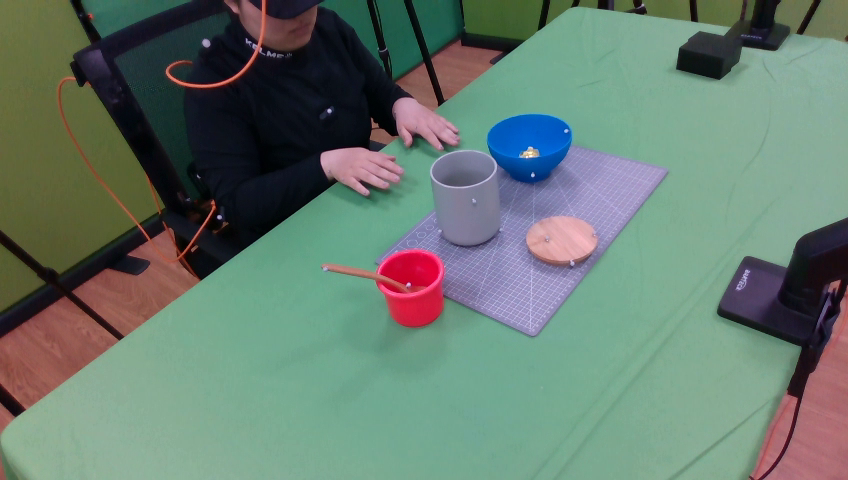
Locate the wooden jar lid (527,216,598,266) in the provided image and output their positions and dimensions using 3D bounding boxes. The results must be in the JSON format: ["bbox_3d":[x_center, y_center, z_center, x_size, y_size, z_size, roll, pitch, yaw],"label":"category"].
[{"bbox_3d":[0.214,0.003,0.937,0.108,0.021,0.108,-4,40,4],"label":"wooden jar lid"}]

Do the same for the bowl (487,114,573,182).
[{"bbox_3d":[0.190,-0.156,1.085,0.151,0.077,0.150,-5,40,5],"label":"bowl"}]

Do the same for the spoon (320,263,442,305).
[{"bbox_3d":[-0.055,0.057,0.831,0.195,0.021,0.041,22,26,-34],"label":"spoon"}]

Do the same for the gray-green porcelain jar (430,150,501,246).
[{"bbox_3d":[0.069,-0.062,0.958,0.106,0.127,0.105,-5,40,5],"label":"gray-green porcelain jar"}]
